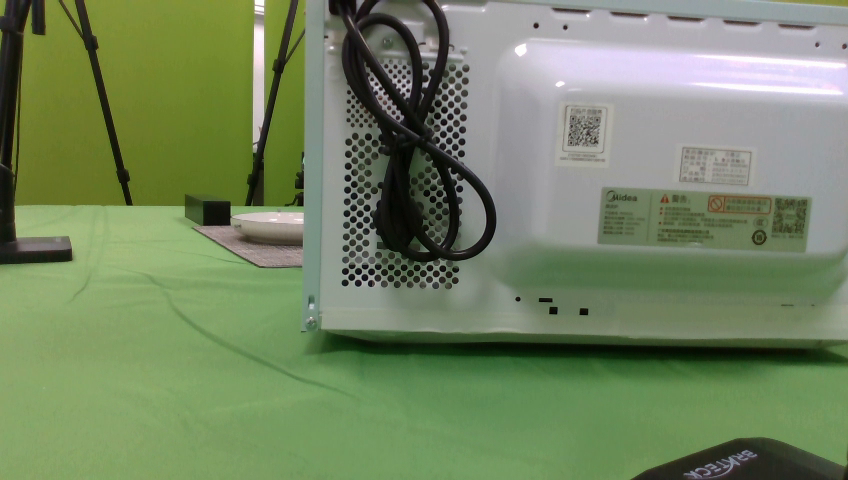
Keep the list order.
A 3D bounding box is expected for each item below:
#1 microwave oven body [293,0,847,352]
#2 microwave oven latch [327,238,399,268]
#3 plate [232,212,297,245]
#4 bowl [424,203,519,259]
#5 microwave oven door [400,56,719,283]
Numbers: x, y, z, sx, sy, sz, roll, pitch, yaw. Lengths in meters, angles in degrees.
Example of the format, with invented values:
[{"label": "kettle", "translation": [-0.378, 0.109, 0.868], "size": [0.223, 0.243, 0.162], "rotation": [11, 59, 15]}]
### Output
[{"label": "microwave oven body", "translation": [0.122, -0.055, 0.550], "size": [0.442, 0.260, 0.325], "rotation": [3, 7, -5]}, {"label": "microwave oven latch", "translation": [-0.069, 0.015, 0.694], "size": [0.079, 0.029, 0.030], "rotation": [3, 7, -3]}, {"label": "plate", "translation": [-0.214, -0.020, 1.018], "size": [0.208, 0.039, 0.207], "rotation": [2, 7, 0]}, {"label": "bowl", "translation": [0.073, -0.014, 0.962], "size": [0.151, 0.077, 0.151], "rotation": [3, 8, 0]}, {"label": "microwave oven door", "translation": [0.155, -0.077, 0.698], "size": [0.356, 0.243, 0.039], "rotation": [2, 8, -5]}]
